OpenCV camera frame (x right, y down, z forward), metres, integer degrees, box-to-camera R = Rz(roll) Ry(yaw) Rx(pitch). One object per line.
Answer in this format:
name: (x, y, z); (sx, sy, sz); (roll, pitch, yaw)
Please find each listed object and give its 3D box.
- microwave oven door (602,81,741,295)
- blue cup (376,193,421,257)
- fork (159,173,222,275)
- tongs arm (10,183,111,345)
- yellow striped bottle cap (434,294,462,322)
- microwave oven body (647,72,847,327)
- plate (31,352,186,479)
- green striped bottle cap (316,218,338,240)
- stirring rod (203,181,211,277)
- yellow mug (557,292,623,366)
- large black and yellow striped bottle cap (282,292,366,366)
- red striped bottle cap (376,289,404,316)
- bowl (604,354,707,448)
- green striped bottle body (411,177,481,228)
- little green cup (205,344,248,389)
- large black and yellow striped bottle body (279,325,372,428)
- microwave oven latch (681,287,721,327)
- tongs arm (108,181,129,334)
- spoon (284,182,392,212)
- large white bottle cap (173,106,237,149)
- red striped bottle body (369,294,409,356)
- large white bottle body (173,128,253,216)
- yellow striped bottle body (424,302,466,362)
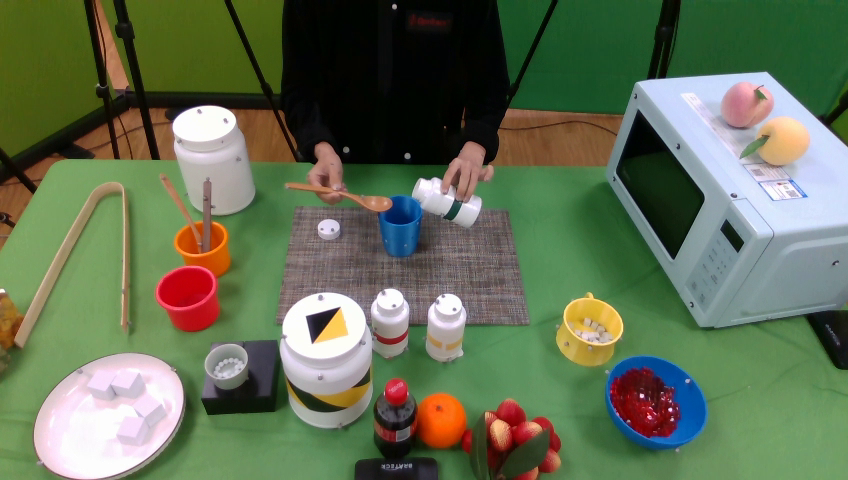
microwave oven door: (0.456, -0.107, 1.162); (0.039, 0.245, 0.353); (-6, 47, -11)
blue cup: (-0.049, -0.022, 1.155); (0.093, 0.101, 0.092); (1, 47, -1)
fork: (-0.427, -0.029, 1.103); (0.028, 0.018, 0.207); (-31, 99, -30)
tongs arm: (-0.658, 0.027, 1.109); (0.028, 0.028, 0.385); (-2, 45, 2)
yellow striped bottle cap: (0.038, 0.107, 0.958); (0.044, 0.019, 0.044); (2, 45, -2)
microwave oven body: (0.607, -0.089, 1.164); (0.326, 0.261, 0.438); (-7, 46, -10)
plate: (-0.459, 0.262, 0.898); (0.209, 0.038, 0.208); (2, 46, -2)
green striped bottle cap: (-0.192, -0.022, 1.204); (0.044, 0.020, 0.044); (2, 50, -2)
stirring rod: (-0.396, -0.021, 1.108); (0.014, 0.006, 0.176); (0, 89, -2)
yellow mug: (0.285, 0.145, 1.051); (0.100, 0.064, 0.130); (7, 45, 4)
large black and yellow striped bottle cap: (-0.138, 0.121, 0.841); (0.115, 0.019, 0.114); (3, 47, -3)
red striped bottle cap: (-0.054, 0.098, 0.958); (0.044, 0.018, 0.044); (0, 48, 1)
bowl: (0.346, 0.261, 0.937); (0.151, 0.077, 0.150); (2, 46, -2)
green striped bottle body: (0.037, -0.072, 1.095); (0.119, 0.063, 0.063); (22, 44, -15)
little green cup: (-0.294, 0.191, 0.909); (0.061, 0.039, 0.061); (1, 47, -1)
large black and yellow striped bottle body: (-0.143, 0.181, 0.900); (0.131, 0.185, 0.130); (2, 46, -2)
microwave oven latch: (0.494, 0.119, 1.087); (0.030, 0.029, 0.078); (-6, 46, -9)
tongs arm: (-0.571, 0.019, 1.123); (0.051, 0.026, 0.382); (-11, 47, -11)
spoon: (-0.150, -0.080, 1.071); (0.194, 0.022, 0.041); (13, 44, -23)
large white bottle cap: (-0.411, -0.212, 1.138); (0.115, 0.018, 0.114); (2, 47, -2)
red striped bottle body: (-0.059, 0.134, 0.997); (0.063, 0.120, 0.062); (5, 47, -5)
large white bottle body: (-0.416, -0.154, 1.199); (0.131, 0.185, 0.130); (2, 46, -2)
yellow striped bottle body: (0.035, 0.143, 0.995); (0.063, 0.121, 0.062); (3, 46, -2)
